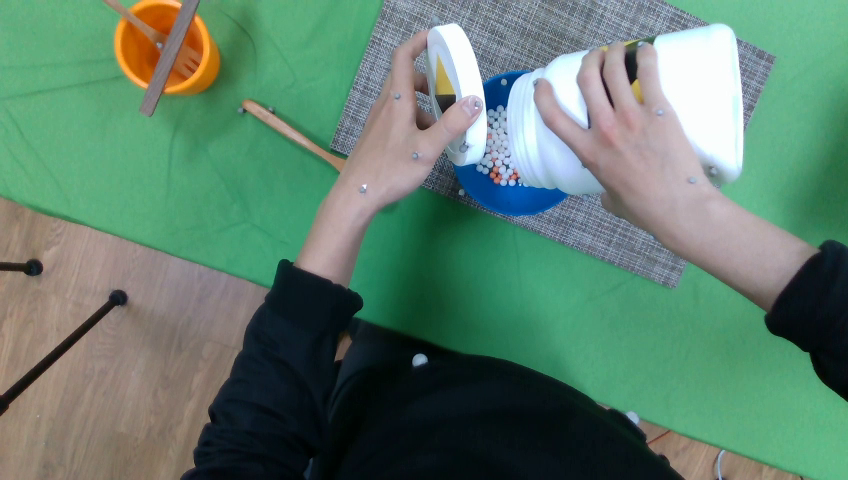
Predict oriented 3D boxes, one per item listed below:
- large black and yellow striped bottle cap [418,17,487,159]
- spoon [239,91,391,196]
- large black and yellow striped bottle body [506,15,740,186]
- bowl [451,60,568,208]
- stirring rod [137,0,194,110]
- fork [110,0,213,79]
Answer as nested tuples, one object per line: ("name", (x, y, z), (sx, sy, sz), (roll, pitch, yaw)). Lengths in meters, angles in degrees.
("large black and yellow striped bottle cap", (0.021, -0.125, 0.507), (0.019, 0.114, 0.115), (-13, 98, -16))
("spoon", (-0.121, -0.111, 0.676), (0.194, 0.021, 0.042), (32, 107, -9))
("large black and yellow striped bottle body", (0.178, -0.117, 0.543), (0.183, 0.131, 0.131), (-2, 99, 30))
("bowl", (0.095, -0.112, 0.665), (0.151, 0.076, 0.151), (-1, 98, -5))
("stirring rod", (-0.239, -0.209, 0.585), (0.014, 0.006, 0.176), (24, 95, -9))
("fork", (-0.289, -0.225, 0.581), (0.028, 0.018, 0.209), (-47, 142, 4))
